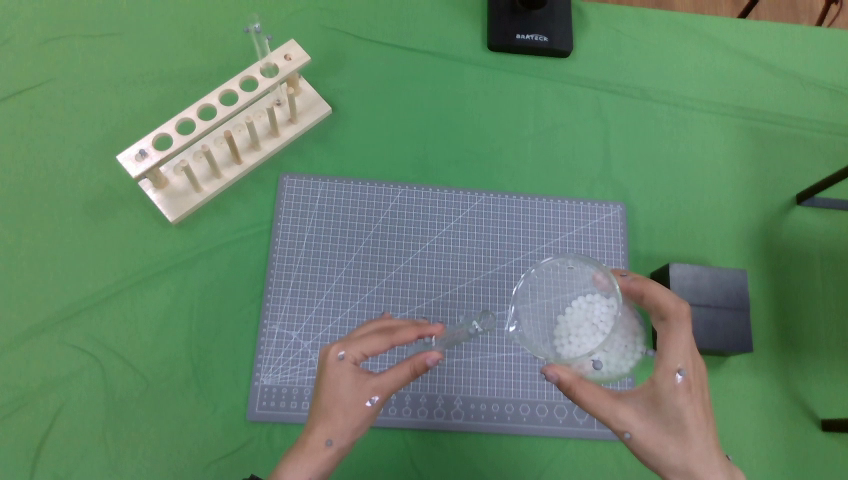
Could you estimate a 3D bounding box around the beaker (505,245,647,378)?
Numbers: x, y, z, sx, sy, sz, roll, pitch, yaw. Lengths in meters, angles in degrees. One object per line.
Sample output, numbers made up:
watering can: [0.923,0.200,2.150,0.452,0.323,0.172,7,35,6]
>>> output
beaker: [0.112,0.058,0.432,0.084,0.101,0.073,-27,58,20]

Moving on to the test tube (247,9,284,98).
test tube: [-0.181,-0.209,0.698,0.017,0.151,0.017,1,70,-3]

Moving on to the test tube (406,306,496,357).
test tube: [0.017,0.078,0.494,0.017,0.150,0.017,8,68,-21]

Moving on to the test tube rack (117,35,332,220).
test tube rack: [-0.227,-0.134,0.723,0.242,0.085,0.066,-40,81,-16]
